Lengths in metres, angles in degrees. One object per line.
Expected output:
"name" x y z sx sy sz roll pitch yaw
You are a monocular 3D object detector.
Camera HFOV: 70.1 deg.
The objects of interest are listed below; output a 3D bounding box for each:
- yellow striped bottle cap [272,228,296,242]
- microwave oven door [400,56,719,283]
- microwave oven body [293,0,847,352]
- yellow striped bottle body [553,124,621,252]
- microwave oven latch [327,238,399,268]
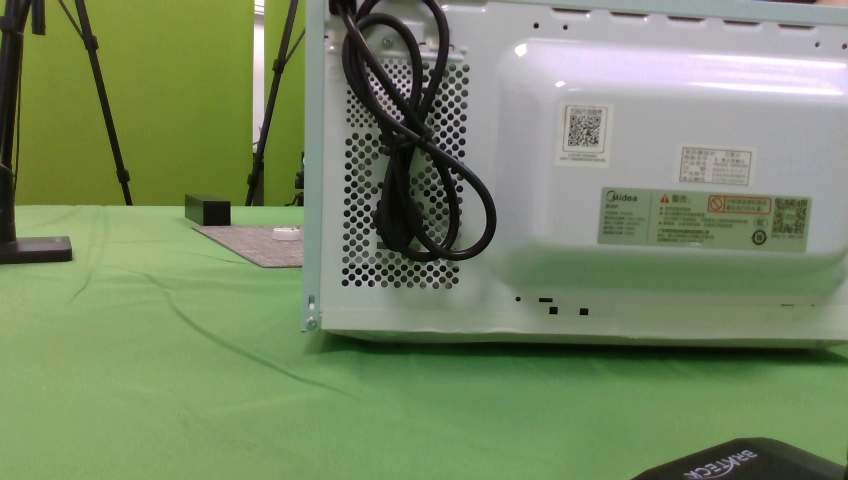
"yellow striped bottle cap" -0.232 -0.008 1.012 0.044 0.018 0.044 4 8 0
"microwave oven door" 0.155 -0.077 0.698 0.356 0.243 0.039 2 8 -5
"microwave oven body" 0.122 -0.055 0.550 0.442 0.260 0.325 3 7 -5
"yellow striped bottle body" 0.158 -0.051 0.587 0.063 0.120 0.063 0 5 0
"microwave oven latch" -0.069 0.015 0.694 0.079 0.029 0.030 3 7 -3
